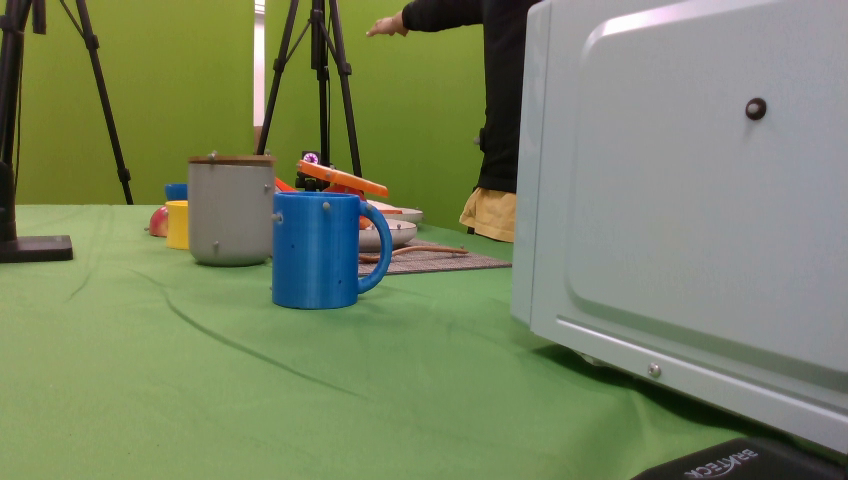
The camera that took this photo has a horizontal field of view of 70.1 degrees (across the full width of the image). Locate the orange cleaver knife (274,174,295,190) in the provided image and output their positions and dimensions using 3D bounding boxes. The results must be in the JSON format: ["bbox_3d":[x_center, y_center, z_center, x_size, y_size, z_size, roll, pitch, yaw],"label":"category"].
[{"bbox_3d":[-0.283,-0.087,1.343,0.212,0.077,0.012,23,-15,-41],"label":"orange cleaver knife"}]

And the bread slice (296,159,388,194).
[{"bbox_3d":[-0.132,-0.102,0.952,0.132,0.019,0.104,13,6,-36],"label":"bread slice"}]

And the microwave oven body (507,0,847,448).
[{"bbox_3d":[0.331,-0.042,0.425,0.444,0.260,0.324,-2,8,-31],"label":"microwave oven body"}]

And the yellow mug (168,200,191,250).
[{"bbox_3d":[-0.320,-0.023,0.904,0.130,0.064,0.100,8,10,36],"label":"yellow mug"}]

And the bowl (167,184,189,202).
[{"bbox_3d":[-0.408,-0.064,1.154,0.151,0.077,0.151,2,8,0],"label":"bowl"}]

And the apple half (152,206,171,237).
[{"bbox_3d":[-0.415,-0.034,1.017,0.081,0.053,0.074,1,10,-8],"label":"apple half"}]

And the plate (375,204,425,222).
[{"bbox_3d":[-0.102,-0.053,1.299,0.209,0.038,0.209,2,8,0],"label":"plate"}]

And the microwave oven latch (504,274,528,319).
[{"bbox_3d":[0.100,0.041,0.471,0.079,0.029,0.030,-1,7,-27],"label":"microwave oven latch"}]

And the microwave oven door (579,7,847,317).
[{"bbox_3d":[0.294,-0.067,0.570,0.358,0.243,0.039,-3,9,-31],"label":"microwave oven door"}]

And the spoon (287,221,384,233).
[{"bbox_3d":[-0.157,-0.027,1.110,0.195,0.021,0.041,-4,-14,-35],"label":"spoon"}]

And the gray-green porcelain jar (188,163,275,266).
[{"bbox_3d":[-0.246,-0.034,0.780,0.106,0.126,0.106,1,7,0],"label":"gray-green porcelain jar"}]

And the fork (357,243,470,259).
[{"bbox_3d":[-0.017,0.014,0.845,0.208,0.018,0.028,-5,-2,-35],"label":"fork"}]

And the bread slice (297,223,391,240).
[{"bbox_3d":[-0.121,-0.015,0.970,0.106,0.018,0.135,9,9,40],"label":"bread slice"}]

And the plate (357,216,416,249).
[{"bbox_3d":[-0.116,-0.014,0.967,0.208,0.039,0.207,2,7,0],"label":"plate"}]

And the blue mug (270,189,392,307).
[{"bbox_3d":[-0.090,0.005,0.588,0.117,0.106,0.082,1,7,-11],"label":"blue mug"}]

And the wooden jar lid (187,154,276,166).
[{"bbox_3d":[-0.244,-0.097,0.771,0.108,0.020,0.108,-1,7,0],"label":"wooden jar lid"}]

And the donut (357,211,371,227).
[{"bbox_3d":[-0.129,-0.042,0.957,0.099,0.048,0.099,4,7,0],"label":"donut"}]
